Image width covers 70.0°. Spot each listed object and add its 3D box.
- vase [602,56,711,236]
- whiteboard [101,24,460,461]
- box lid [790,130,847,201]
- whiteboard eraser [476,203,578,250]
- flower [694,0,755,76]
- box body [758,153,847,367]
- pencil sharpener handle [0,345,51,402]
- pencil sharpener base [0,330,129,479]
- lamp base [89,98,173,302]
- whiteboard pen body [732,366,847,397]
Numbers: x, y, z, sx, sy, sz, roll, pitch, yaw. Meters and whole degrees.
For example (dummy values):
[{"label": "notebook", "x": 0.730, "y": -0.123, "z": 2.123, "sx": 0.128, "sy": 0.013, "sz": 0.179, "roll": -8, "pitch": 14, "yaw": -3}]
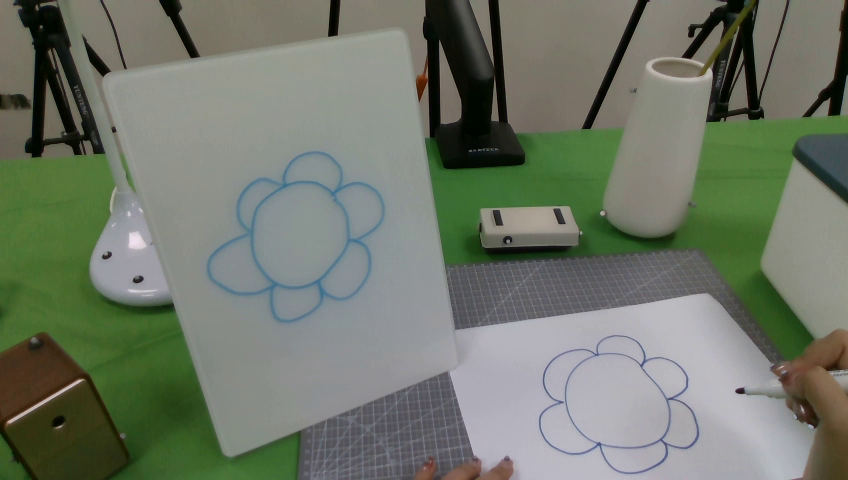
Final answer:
[{"label": "vase", "x": 0.270, "y": -0.103, "z": 0.698, "sx": 0.098, "sy": 0.201, "sz": 0.097, "roll": 1, "pitch": 37, "yaw": 0}, {"label": "whiteboard", "x": -0.113, "y": -0.010, "z": 0.532, "sx": 0.218, "sy": 0.307, "sz": 0.142, "roll": -17, "pitch": 21, "yaw": -20}, {"label": "box lid", "x": 0.498, "y": 0.000, "z": 0.467, "sx": 0.263, "sy": 0.015, "sz": 0.367, "roll": -3, "pitch": 36, "yaw": -4}, {"label": "whiteboard eraser", "x": 0.120, "y": -0.015, "z": 0.711, "sx": 0.113, "sy": 0.042, "sz": 0.055, "roll": -3, "pitch": 36, "yaw": -3}, {"label": "flower", "x": 0.281, "y": -0.161, "z": 0.638, "sx": 0.044, "sy": 0.364, "sz": 0.038, "roll": -20, "pitch": 59, "yaw": -34}, {"label": "box body", "x": 0.499, "y": 0.059, "z": 0.514, "sx": 0.254, "sy": 0.162, "sz": 0.360, "roll": -3, "pitch": 37, "yaw": -4}, {"label": "pencil sharpener handle", "x": -0.320, "y": 0.102, "z": 0.476, "sx": 0.030, "sy": 0.068, "sz": 0.036, "roll": 27, "pitch": 53, "yaw": 32}, {"label": "pencil sharpener base", "x": -0.282, "y": 0.133, "z": 0.457, "sx": 0.076, "sy": 0.108, "sz": 0.061, "roll": 27, "pitch": 45, "yaw": 31}, {"label": "lamp base", "x": -0.298, "y": -0.051, "z": 0.641, "sx": 0.178, "sy": 0.182, "sz": 0.160, "roll": 21, "pitch": 42, "yaw": 29}, {"label": "whiteboard pen body", "x": 0.268, "y": 0.088, "z": 0.386, "sx": 0.140, "sy": 0.017, "sz": 0.017, "roll": -22, "pitch": 16, "yaw": 45}]
